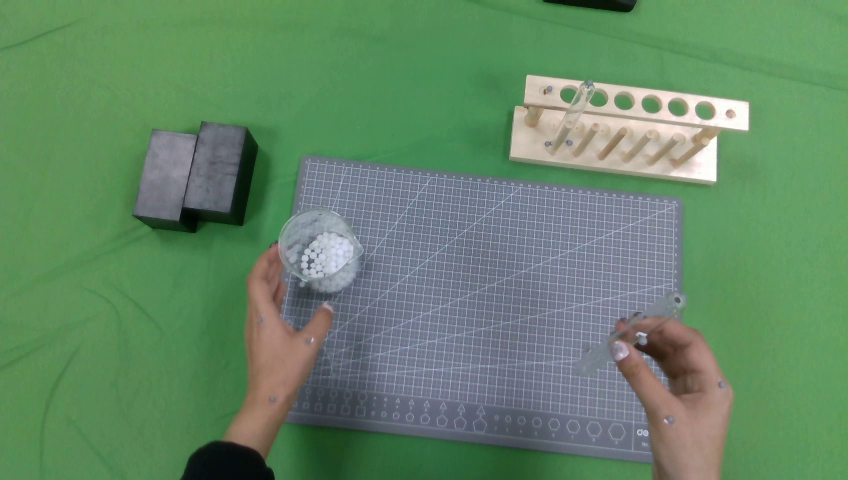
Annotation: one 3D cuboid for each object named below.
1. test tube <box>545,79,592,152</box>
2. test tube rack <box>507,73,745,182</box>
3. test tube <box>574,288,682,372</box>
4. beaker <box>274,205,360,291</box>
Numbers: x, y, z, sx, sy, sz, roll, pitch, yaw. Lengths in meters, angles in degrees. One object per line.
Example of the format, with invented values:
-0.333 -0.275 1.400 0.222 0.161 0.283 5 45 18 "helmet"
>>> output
0.151 -0.128 0.641 0.017 0.151 0.017 0 76 -1 "test tube"
0.223 -0.125 0.689 0.242 0.085 0.066 7 76 0 "test tube rack"
0.156 0.076 0.480 0.017 0.151 0.017 7 59 -11 "test tube"
-0.105 0.013 0.635 0.084 0.100 0.073 7 77 -1 "beaker"
